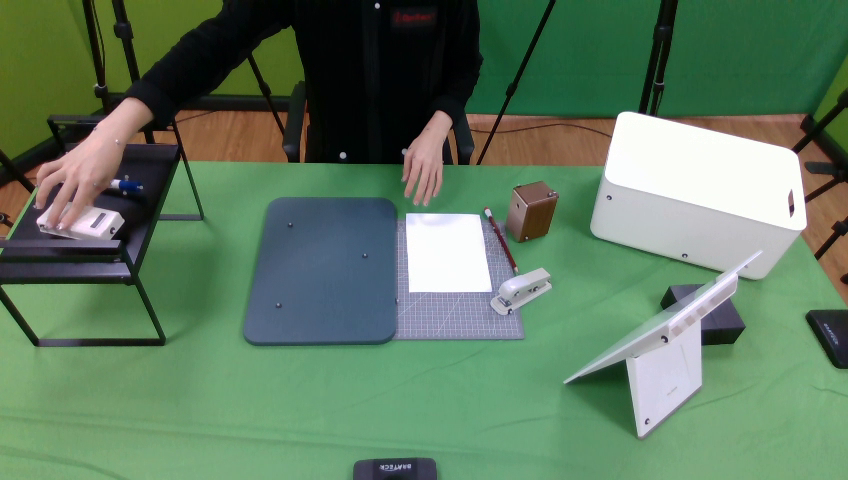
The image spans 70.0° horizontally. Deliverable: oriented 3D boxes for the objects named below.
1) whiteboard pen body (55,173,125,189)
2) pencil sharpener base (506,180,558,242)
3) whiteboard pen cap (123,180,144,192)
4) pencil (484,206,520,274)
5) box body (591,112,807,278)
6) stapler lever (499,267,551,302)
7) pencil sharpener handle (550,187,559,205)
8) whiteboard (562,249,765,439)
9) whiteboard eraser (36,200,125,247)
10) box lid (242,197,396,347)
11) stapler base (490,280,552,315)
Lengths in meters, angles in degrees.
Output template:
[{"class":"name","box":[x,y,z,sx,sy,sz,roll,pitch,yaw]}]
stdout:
[{"class":"whiteboard pen body","box":[-0.539,-0.095,0.997,0.141,0.017,0.017,7,46,6]},{"class":"pencil sharpener base","box":[0.216,-0.059,1.211,0.077,0.107,0.061,-16,49,-19]},{"class":"whiteboard pen cap","box":[-0.479,-0.088,0.993,0.033,0.018,0.018,6,46,13]},{"class":"pencil","box":[0.156,-0.002,1.217,0.012,0.012,0.192,-10,48,-13]},{"class":"box body","box":[0.540,-0.092,1.230,0.363,0.161,0.253,16,47,11]},{"class":"stapler lever","box":[0.185,0.076,1.101,0.118,0.040,0.026,-25,57,-29]},{"class":"pencil sharpener handle","box":[0.261,-0.084,1.221,0.031,0.068,0.036,-16,65,-19]},{"class":"whiteboard","box":[0.386,0.176,0.905,0.217,0.306,0.143,-26,72,-26]},{"class":"whiteboard eraser","box":[-0.518,-0.024,0.917,0.112,0.042,0.055,12,52,7]},{"class":"box lid","box":[-0.186,0.046,1.147,0.263,0.015,0.369,0,46,-3]},{"class":"stapler base","box":[0.181,0.094,1.118,0.130,0.024,0.041,-24,57,-29]}]
